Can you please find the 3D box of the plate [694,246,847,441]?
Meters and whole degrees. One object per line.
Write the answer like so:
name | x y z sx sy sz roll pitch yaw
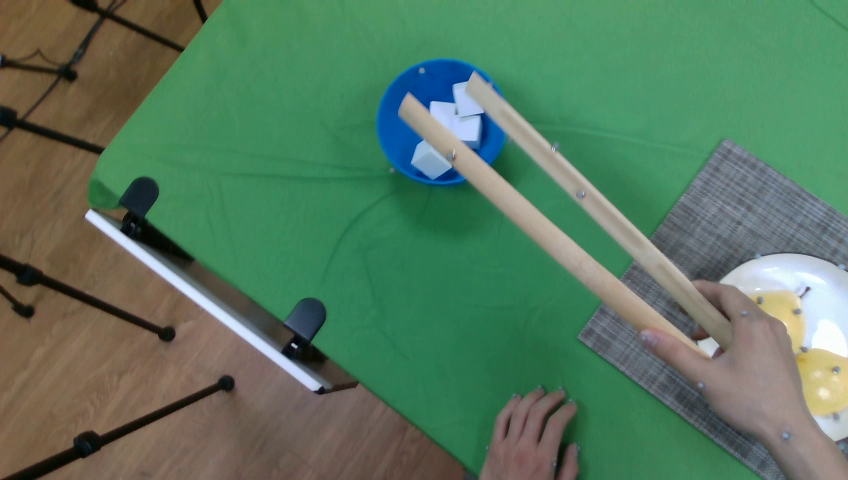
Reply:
plate | 0.401 0.111 0.665 0.207 0.039 0.207 -1 81 5

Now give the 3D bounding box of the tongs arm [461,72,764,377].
tongs arm | 0.158 -0.023 0.564 0.382 0.026 0.051 46 44 13

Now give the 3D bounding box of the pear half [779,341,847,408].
pear half | 0.433 0.145 0.652 0.088 0.031 0.070 -21 84 7

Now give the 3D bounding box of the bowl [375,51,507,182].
bowl | 0.022 -0.134 0.717 0.151 0.077 0.151 -1 81 4

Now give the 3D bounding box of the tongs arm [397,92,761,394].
tongs arm | 0.122 -0.001 0.526 0.386 0.028 0.028 42 130 10

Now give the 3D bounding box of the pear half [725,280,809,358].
pear half | 0.385 0.077 0.658 0.110 0.056 0.076 -42 84 -6
